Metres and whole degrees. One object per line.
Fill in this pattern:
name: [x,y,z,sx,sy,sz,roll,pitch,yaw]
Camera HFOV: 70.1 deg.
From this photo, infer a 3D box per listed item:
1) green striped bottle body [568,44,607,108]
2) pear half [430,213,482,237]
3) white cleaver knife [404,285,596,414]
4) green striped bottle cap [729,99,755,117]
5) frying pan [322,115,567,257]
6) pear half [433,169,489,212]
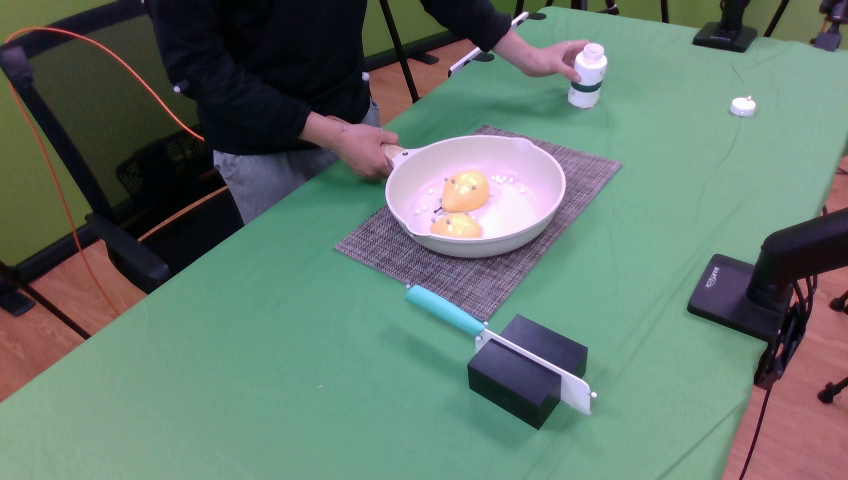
green striped bottle body: [0.333,-0.335,1.228,0.063,0.119,0.063,0,50,1]
pear half: [0.050,-0.024,0.973,0.087,0.031,0.070,14,41,18]
white cleaver knife: [0.084,0.135,0.764,0.284,0.066,0.021,27,46,31]
green striped bottle cap: [0.623,-0.259,1.182,0.044,0.020,0.044,-3,40,3]
frying pan: [0.004,-0.121,1.039,0.484,0.103,0.308,31,52,25]
pear half: [0.057,-0.083,1.024,0.110,0.056,0.075,-34,42,-25]
